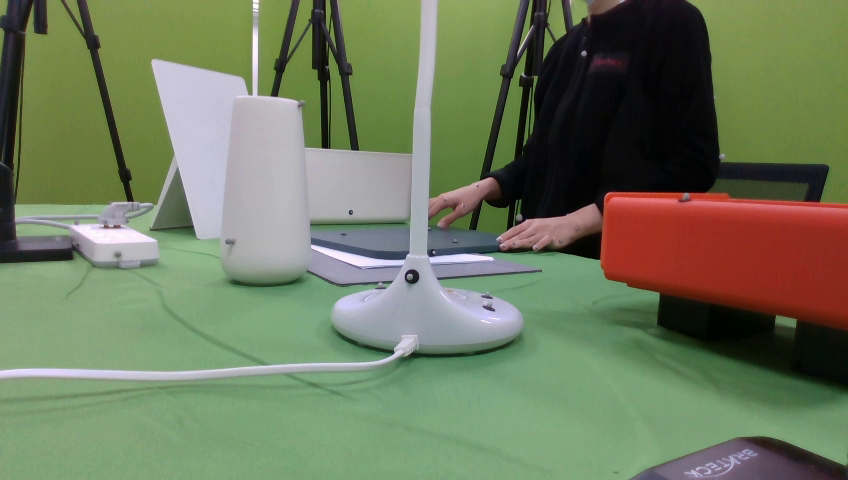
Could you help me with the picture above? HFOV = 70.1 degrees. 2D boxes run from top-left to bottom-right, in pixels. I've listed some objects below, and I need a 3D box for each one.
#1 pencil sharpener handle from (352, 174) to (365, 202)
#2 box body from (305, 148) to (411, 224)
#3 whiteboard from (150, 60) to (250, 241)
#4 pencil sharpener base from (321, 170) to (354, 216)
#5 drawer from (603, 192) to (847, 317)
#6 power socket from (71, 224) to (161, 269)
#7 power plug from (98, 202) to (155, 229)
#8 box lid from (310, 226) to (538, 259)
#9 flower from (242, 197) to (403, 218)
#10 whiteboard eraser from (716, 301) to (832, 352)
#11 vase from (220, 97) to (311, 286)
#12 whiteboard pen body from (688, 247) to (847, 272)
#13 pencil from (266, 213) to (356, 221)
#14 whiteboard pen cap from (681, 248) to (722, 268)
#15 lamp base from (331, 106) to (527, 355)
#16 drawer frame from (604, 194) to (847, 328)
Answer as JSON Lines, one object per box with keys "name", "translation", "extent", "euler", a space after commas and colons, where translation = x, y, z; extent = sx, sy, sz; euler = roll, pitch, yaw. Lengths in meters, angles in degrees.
{"name": "pencil sharpener handle", "translation": [-0.156, -0.124, 1.449], "extent": [0.031, 0.068, 0.036], "euler": [1, 18, -10]}
{"name": "box body", "translation": [-0.230, -0.126, 1.372], "extent": [0.366, 0.160, 0.253], "euler": [-2, 8, -33]}
{"name": "whiteboard", "translation": [-0.408, -0.139, 1.093], "extent": [0.143, 0.305, 0.218], "euler": [-15, -1, 26]}
{"name": "pencil sharpener base", "translation": [-0.206, -0.112, 1.437], "extent": [0.077, 0.107, 0.061], "euler": [1, 6, -10]}
{"name": "drawer", "translation": [0.293, 0.002, 0.500], "extent": [0.195, 0.073, 0.210], "euler": [-1, 8, -34]}
{"name": "power socket", "translation": [-0.408, 0.004, 0.793], "extent": [0.072, 0.032, 0.225], "euler": [-2, 8, -38]}
{"name": "power plug", "translation": [-0.416, -0.027, 0.848], "extent": [0.073, 0.052, 0.035], "euler": [0, 8, -28]}
{"name": "box lid", "translation": [-0.010, 0.001, 1.036], "extent": [0.374, 0.015, 0.262], "euler": [-4, 9, -44]}
{"name": "flower", "translation": [-0.229, -0.067, 1.372], "extent": [0.362, 0.038, 0.044], "euler": [4, 37, -2]}
{"name": "whiteboard eraser", "translation": [0.256, 0.042, 0.472], "extent": [0.112, 0.042, 0.056], "euler": [43, 19, 30]}
{"name": "vase", "translation": [-0.172, -0.052, 0.662], "extent": [0.098, 0.200, 0.098], "euler": [3, 8, 0]}
{"name": "whiteboard pen body", "translation": [0.304, 0.016, 0.520], "extent": [0.140, 0.017, 0.017], "euler": [3, 7, 26]}
{"name": "pencil", "translation": [-0.244, -0.049, 1.320], "extent": [0.195, 0.012, 0.012], "euler": [3, 7, -14]}
{"name": "whiteboard pen cap", "translation": [0.250, 0.017, 0.544], "extent": [0.033, 0.018, 0.018], "euler": [2, 7, 25]}
{"name": "lamp base", "translation": [0.006, -0.012, 0.478], "extent": [0.161, 0.180, 0.179], "euler": [2, 10, 2]}
{"name": "drawer frame", "translation": [0.298, 0.007, 0.497], "extent": [0.203, 0.082, 0.212], "euler": [-1, 7, -34]}
